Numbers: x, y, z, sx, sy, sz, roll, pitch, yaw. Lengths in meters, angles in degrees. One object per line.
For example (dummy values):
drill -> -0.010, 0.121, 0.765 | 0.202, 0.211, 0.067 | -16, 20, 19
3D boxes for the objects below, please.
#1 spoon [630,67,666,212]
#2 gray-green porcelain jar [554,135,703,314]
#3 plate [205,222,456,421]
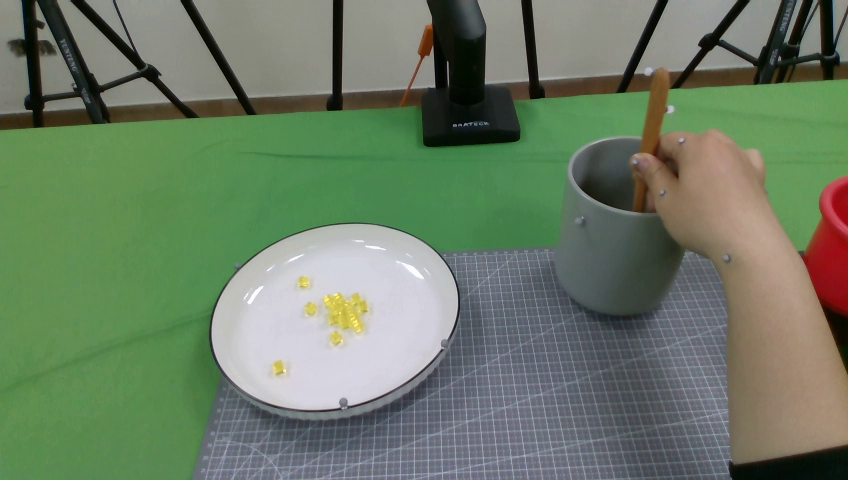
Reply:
spoon -> 0.170, -0.036, 0.476 | 0.041, 0.195, 0.021 | 22, 38, 37
gray-green porcelain jar -> 0.167, -0.008, 0.516 | 0.106, 0.128, 0.105 | -2, 43, 2
plate -> -0.076, 0.066, 0.519 | 0.207, 0.039, 0.205 | -2, 43, 2
